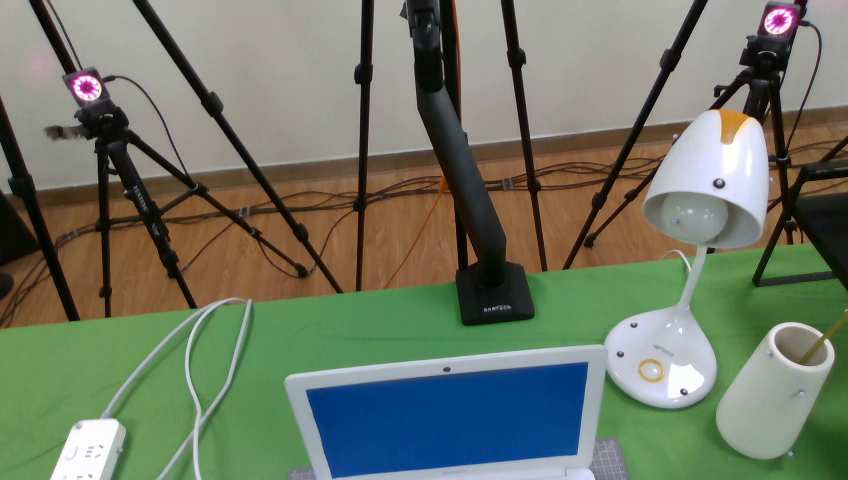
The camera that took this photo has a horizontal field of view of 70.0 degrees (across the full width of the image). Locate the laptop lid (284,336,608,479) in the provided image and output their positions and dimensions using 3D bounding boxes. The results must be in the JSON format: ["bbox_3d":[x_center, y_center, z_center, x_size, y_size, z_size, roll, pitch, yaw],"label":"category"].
[{"bbox_3d":[0.032,0.209,0.720,0.357,0.244,0.013,-7,39,1],"label":"laptop lid"}]

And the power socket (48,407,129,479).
[{"bbox_3d":[-0.463,0.326,0.809,0.072,0.033,0.224,-3,45,1],"label":"power socket"}]

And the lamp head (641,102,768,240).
[{"bbox_3d":[0.289,-0.073,0.607,0.112,0.113,0.122,17,67,21],"label":"lamp head"}]

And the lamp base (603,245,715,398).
[{"bbox_3d":[0.347,0.101,0.853,0.159,0.182,0.178,20,48,23],"label":"lamp base"}]

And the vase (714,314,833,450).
[{"bbox_3d":[0.431,0.178,0.755,0.098,0.202,0.097,-4,44,4],"label":"vase"}]

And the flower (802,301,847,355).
[{"bbox_3d":[0.445,0.119,0.696,0.038,0.364,0.043,12,37,-6],"label":"flower"}]

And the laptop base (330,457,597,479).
[{"bbox_3d":[0.049,0.384,0.714,0.354,0.023,0.233,-5,48,0],"label":"laptop base"}]
